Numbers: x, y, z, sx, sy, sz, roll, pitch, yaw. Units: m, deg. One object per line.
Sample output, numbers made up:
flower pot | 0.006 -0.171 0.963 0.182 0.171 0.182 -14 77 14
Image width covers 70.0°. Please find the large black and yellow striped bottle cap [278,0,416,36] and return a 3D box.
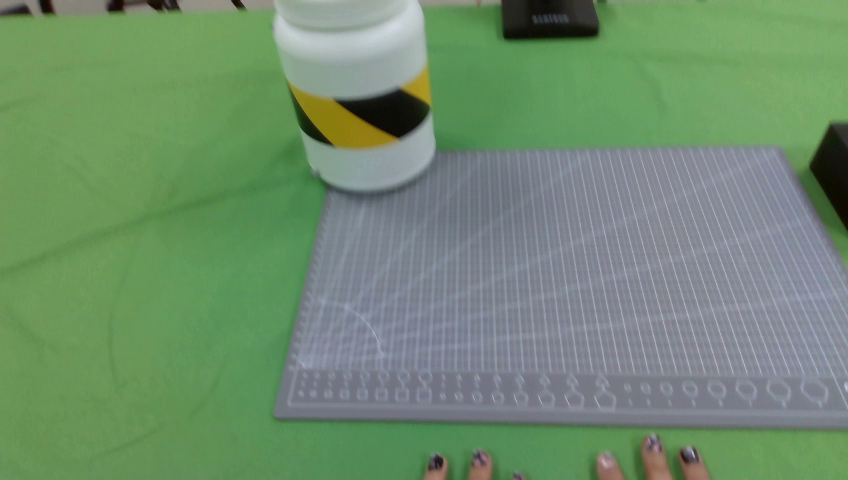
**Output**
large black and yellow striped bottle cap | -0.064 -0.204 0.506 0.115 0.019 0.114 -3 43 3

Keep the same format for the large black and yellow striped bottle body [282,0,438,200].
large black and yellow striped bottle body | -0.057 -0.144 0.565 0.131 0.186 0.129 -3 44 3
